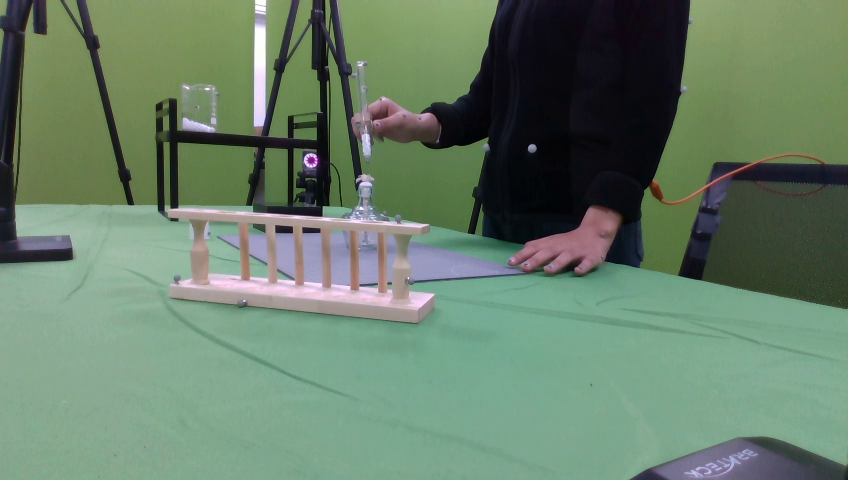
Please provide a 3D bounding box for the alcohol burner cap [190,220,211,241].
[{"bbox_3d":[-0.365,-0.023,0.988,0.034,0.048,0.034,2,8,0],"label":"alcohol burner cap"}]

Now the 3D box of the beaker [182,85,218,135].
[{"bbox_3d":[-0.479,-0.276,1.291,0.074,0.100,0.084,2,8,-1],"label":"beaker"}]

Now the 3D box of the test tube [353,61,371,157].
[{"bbox_3d":[-0.096,-0.203,0.938,0.017,0.150,0.017,-5,-2,0],"label":"test tube"}]

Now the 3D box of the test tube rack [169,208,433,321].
[{"bbox_3d":[-0.115,0.018,0.574,0.242,0.085,0.067,4,8,13],"label":"test tube rack"}]

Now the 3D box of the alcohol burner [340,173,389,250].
[{"bbox_3d":[-0.093,-0.045,0.939,0.078,0.119,0.078,0,6,0],"label":"alcohol burner"}]

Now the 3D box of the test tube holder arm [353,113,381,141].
[{"bbox_3d":[-0.093,-0.186,1.005,0.013,0.015,0.178,-1,-1,5],"label":"test tube holder arm"}]

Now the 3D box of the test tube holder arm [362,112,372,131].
[{"bbox_3d":[-0.090,-0.187,0.960,0.010,0.015,0.088,-2,-1,-2],"label":"test tube holder arm"}]
